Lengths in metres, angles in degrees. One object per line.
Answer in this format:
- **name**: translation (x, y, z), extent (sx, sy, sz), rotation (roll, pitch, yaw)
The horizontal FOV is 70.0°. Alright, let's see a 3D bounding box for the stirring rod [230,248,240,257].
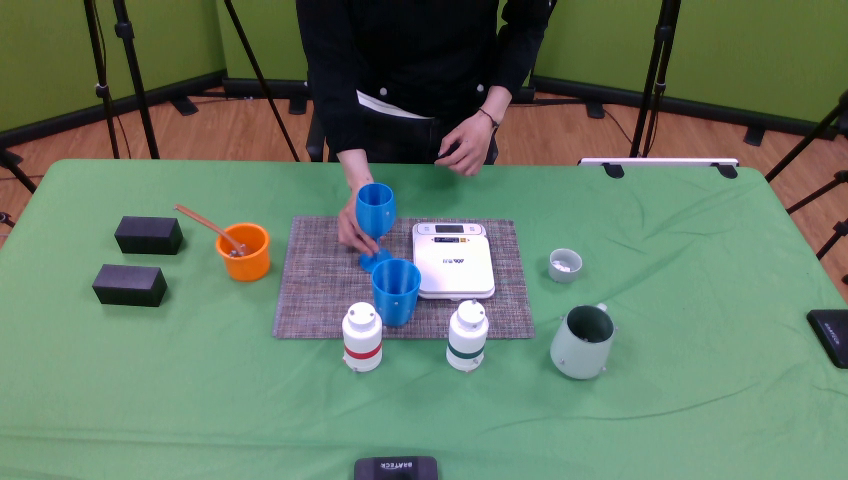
- **stirring rod**: translation (-0.330, 0.023, 1.059), extent (0.014, 0.176, 0.006), rotation (33, 79, -12)

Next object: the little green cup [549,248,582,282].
- **little green cup**: translation (0.268, 0.050, 1.156), extent (0.061, 0.039, 0.061), rotation (1, 46, -1)

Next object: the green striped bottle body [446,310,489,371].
- **green striped bottle body**: translation (0.070, 0.155, 0.984), extent (0.063, 0.120, 0.063), rotation (2, 46, -2)

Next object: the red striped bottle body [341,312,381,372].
- **red striped bottle body**: translation (-0.100, 0.154, 0.972), extent (0.063, 0.120, 0.062), rotation (2, 46, -2)

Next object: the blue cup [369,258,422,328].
- **blue cup**: translation (-0.051, 0.097, 1.039), extent (0.093, 0.101, 0.092), rotation (3, 43, -2)

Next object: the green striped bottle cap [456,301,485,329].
- **green striped bottle cap**: translation (0.073, 0.116, 0.943), extent (0.044, 0.020, 0.044), rotation (3, 46, -3)

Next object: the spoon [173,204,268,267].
- **spoon**: translation (-0.363, -0.009, 1.089), extent (0.021, 0.195, 0.041), rotation (-35, 31, 23)

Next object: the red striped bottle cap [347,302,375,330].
- **red striped bottle cap**: translation (-0.097, 0.116, 0.934), extent (0.044, 0.018, 0.044), rotation (2, 48, -3)

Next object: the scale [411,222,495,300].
- **scale**: translation (0.052, 0.031, 1.158), extent (0.149, 0.032, 0.199), rotation (1, 46, -4)

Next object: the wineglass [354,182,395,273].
- **wineglass**: translation (-0.089, -0.020, 1.098), extent (0.074, 0.173, 0.073), rotation (2, 46, -2)

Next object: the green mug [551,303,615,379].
- **green mug**: translation (0.271, 0.157, 1.007), extent (0.092, 0.105, 0.125), rotation (27, 50, 21)
